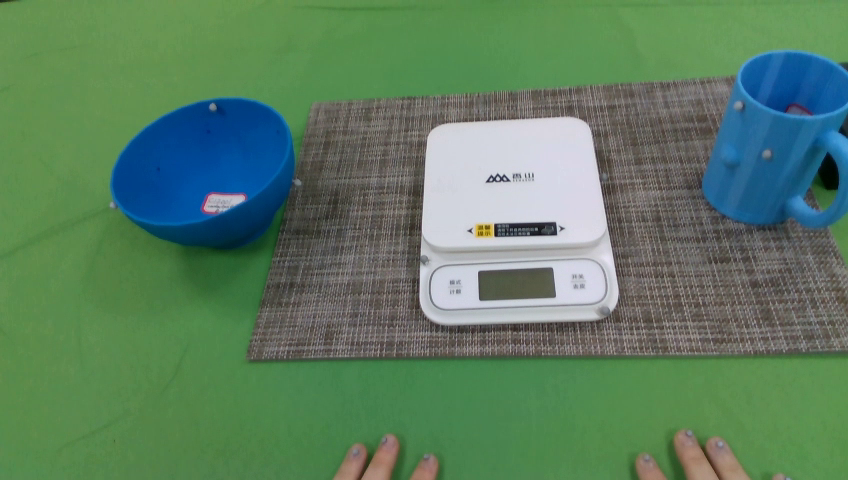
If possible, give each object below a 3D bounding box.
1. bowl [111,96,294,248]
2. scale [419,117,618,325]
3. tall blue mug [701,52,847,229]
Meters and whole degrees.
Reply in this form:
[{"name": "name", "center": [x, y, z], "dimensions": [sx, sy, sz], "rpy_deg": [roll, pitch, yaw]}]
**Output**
[{"name": "bowl", "center": [-0.178, -0.046, 0.528], "dimensions": [0.151, 0.077, 0.150], "rpy_deg": [-4, 52, 5]}, {"name": "scale", "center": [0.072, -0.023, 0.499], "dimensions": [0.148, 0.032, 0.199], "rpy_deg": [-2, 52, 7]}, {"name": "tall blue mug", "center": [0.275, -0.067, 0.454], "dimensions": [0.106, 0.109, 0.077], "rpy_deg": [32, 62, 29]}]
